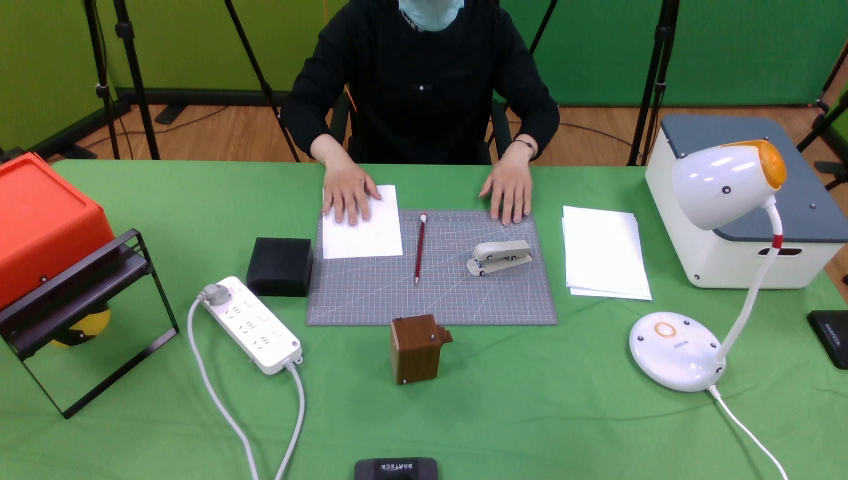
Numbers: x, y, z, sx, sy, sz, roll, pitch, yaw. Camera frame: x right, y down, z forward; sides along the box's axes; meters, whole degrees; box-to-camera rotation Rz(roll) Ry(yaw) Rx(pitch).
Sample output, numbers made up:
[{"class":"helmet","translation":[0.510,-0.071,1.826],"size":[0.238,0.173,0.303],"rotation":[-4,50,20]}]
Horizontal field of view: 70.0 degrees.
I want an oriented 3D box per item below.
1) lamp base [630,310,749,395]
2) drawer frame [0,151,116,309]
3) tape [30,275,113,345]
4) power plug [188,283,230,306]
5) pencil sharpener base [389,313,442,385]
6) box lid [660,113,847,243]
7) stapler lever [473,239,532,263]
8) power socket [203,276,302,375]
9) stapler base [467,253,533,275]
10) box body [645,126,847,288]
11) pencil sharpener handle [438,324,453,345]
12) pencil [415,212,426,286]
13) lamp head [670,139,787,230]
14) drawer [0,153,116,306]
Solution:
[{"class":"lamp base","translation":[0.447,0.142,0.984],"size":[0.161,0.181,0.178],"rotation":[-24,55,-24]},{"class":"drawer frame","translation":[-0.604,-0.013,0.875],"size":[0.201,0.083,0.213],"rotation":[31,52,23]},{"class":"tape","translation":[-0.593,0.117,1.021],"size":[0.117,0.053,0.116],"rotation":[3,46,-2]},{"class":"power plug","translation":[-0.368,0.099,1.037],"size":[0.072,0.053,0.035],"rotation":[-24,52,-25]},{"class":"pencil sharpener base","translation":[-0.013,0.175,0.971],"size":[0.077,0.107,0.061],"rotation":[-8,47,-12]},{"class":"box lid","translation":[0.628,-0.133,1.171],"size":[0.263,0.015,0.369],"rotation":[1,46,-3]},{"class":"stapler lever","translation":[0.150,0.017,1.155],"size":[0.118,0.040,0.026],"rotation":[-13,50,-17]},{"class":"power socket","translation":[-0.297,0.141,1.034],"size":[0.072,0.033,0.225],"rotation":[-34,58,-30]},{"class":"stapler base","translation":[0.147,0.034,1.171],"size":[0.131,0.024,0.041],"rotation":[-12,50,-17]},{"class":"box body","translation":[0.625,-0.080,1.222],"size":[0.254,0.161,0.361],"rotation":[0,46,-3]},{"class":"pencil sharpener handle","translation":[0.036,0.155,0.976],"size":[0.031,0.068,0.036],"rotation":[-8,69,-11]},{"class":"pencil","translation":[-0.007,0.014,1.190],"size":[0.012,0.012,0.193],"rotation":[5,47,1]},{"class":"lamp head","translation":[0.415,-0.079,0.812],"size":[0.113,0.123,0.112],"rotation":[13,70,-37]},{"class":"drawer","translation":[-0.601,-0.015,0.880],"size":[0.193,0.073,0.211],"rotation":[32,53,23]}]
